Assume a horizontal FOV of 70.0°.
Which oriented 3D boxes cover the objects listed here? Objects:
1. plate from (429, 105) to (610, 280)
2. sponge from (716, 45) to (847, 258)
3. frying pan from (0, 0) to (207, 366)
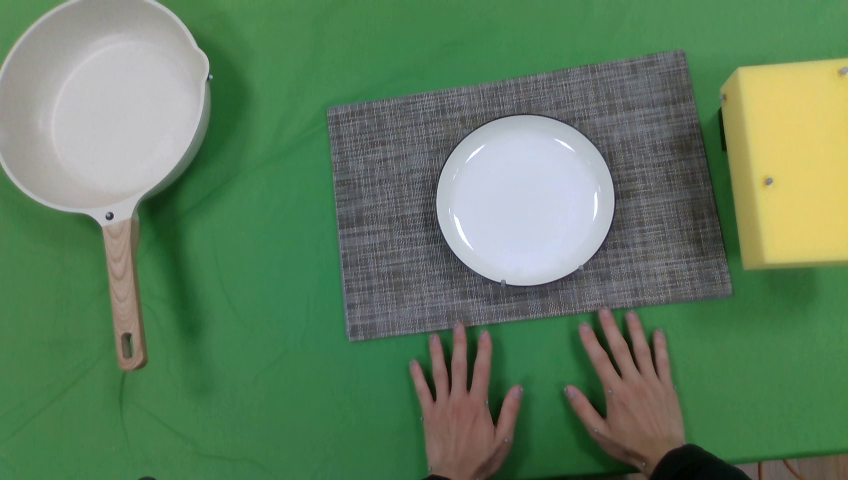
[{"bbox_3d":[0.111,-0.054,0.716,0.207,0.039,0.207,-1,82,7],"label":"plate"},{"bbox_3d":[0.384,-0.088,0.627,0.118,0.061,0.206,-5,82,6],"label":"sponge"},{"bbox_3d":[-0.387,-0.082,0.752,0.307,0.103,0.484,-16,73,6],"label":"frying pan"}]
